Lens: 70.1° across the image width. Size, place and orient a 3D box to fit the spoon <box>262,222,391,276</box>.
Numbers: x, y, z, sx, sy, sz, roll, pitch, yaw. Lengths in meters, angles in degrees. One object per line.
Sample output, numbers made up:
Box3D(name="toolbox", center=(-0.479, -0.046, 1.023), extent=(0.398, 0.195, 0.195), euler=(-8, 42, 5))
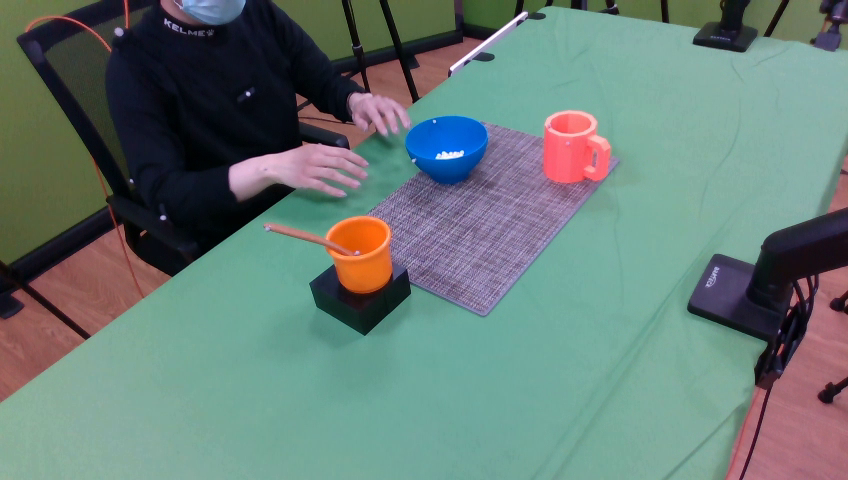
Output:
Box3D(name="spoon", center=(-0.124, 0.009, 0.800), extent=(0.021, 0.195, 0.041), euler=(-45, 40, 23))

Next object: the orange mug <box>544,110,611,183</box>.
Box3D(name="orange mug", center=(0.266, -0.157, 1.049), extent=(0.084, 0.101, 0.125), euler=(-33, 42, -26))

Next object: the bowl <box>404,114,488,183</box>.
Box3D(name="bowl", center=(0.043, -0.156, 1.095), extent=(0.151, 0.077, 0.150), euler=(-4, 41, 4))
